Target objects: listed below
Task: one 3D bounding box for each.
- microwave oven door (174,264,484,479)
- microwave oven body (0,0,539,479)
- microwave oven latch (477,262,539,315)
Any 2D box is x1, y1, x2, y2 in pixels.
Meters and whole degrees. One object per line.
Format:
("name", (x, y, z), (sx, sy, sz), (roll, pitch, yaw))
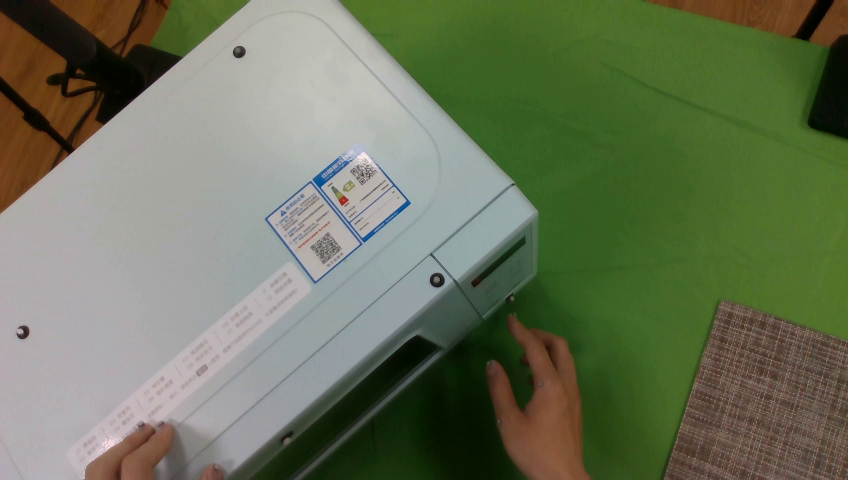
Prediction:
("microwave oven door", (-0.101, 0.162, 0.536), (0.356, 0.245, 0.039), (-41, 72, -1))
("microwave oven body", (-0.160, 0.030, 0.582), (0.441, 0.262, 0.324), (-41, 74, -1))
("microwave oven latch", (0.085, 0.044, 0.637), (0.079, 0.030, 0.030), (-39, 74, 0))
